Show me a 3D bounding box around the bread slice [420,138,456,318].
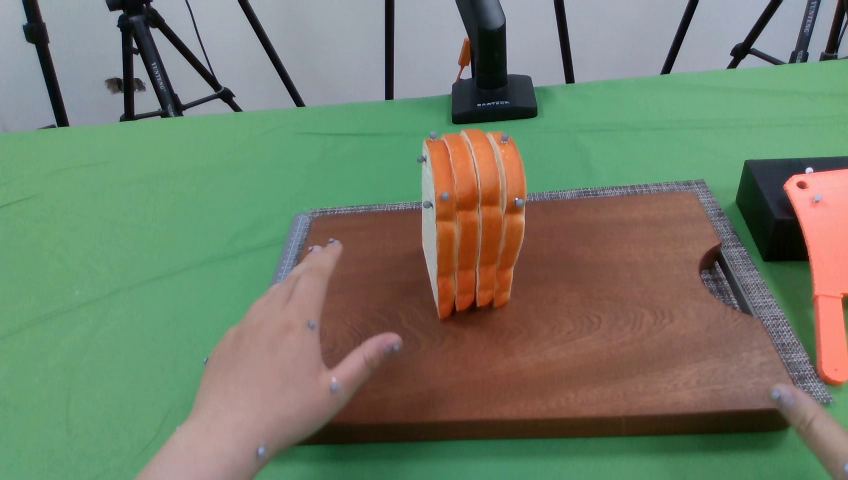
[{"bbox_3d":[0.011,-0.018,0.520,0.018,0.135,0.106,-6,35,-5],"label":"bread slice"}]

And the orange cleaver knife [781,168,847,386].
[{"bbox_3d":[0.346,0.021,0.501,0.077,0.012,0.210,7,59,11],"label":"orange cleaver knife"}]

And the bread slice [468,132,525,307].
[{"bbox_3d":[0.061,-0.024,0.519,0.019,0.132,0.103,-3,40,-9],"label":"bread slice"}]
